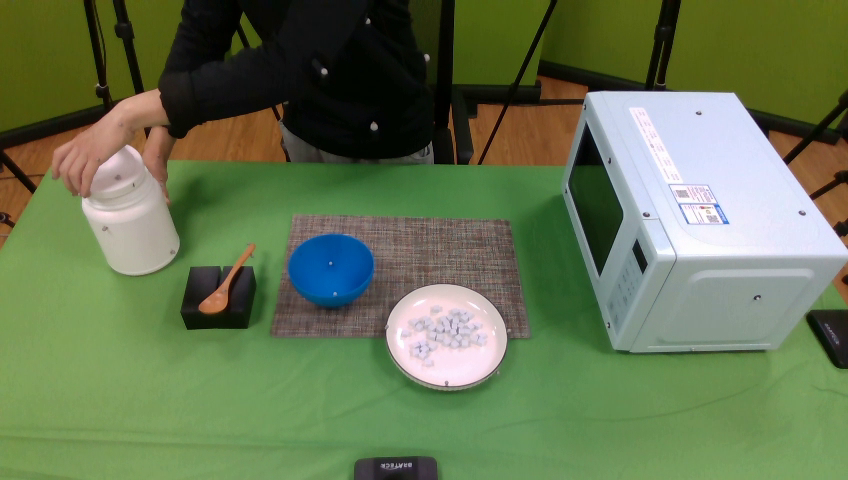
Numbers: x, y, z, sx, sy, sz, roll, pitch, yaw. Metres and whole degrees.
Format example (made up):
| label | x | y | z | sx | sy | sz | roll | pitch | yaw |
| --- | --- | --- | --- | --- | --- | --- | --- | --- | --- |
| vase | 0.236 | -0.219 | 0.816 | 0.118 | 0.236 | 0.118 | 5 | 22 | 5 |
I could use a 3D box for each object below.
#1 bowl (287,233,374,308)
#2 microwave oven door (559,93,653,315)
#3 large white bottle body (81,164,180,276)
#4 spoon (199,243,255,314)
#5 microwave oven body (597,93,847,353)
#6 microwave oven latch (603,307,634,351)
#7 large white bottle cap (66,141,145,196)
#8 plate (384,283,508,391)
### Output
| label | x | y | z | sx | sy | sz | roll | pitch | yaw |
| --- | --- | --- | --- | --- | --- | --- | --- | --- | --- |
| bowl | -0.164 | 0.068 | 1.078 | 0.151 | 0.077 | 0.150 | 2 | 46 | -2 |
| microwave oven door | 0.327 | -0.074 | 1.123 | 0.039 | 0.245 | 0.353 | -1 | 46 | -5 |
| large white bottle body | -0.524 | -0.041 | 1.085 | 0.131 | 0.185 | 0.130 | 2 | 45 | -2 |
| spoon | -0.333 | 0.063 | 1.051 | 0.041 | 0.022 | 0.193 | 6 | 40 | 9 |
| microwave oven body | 0.475 | -0.041 | 1.109 | 0.326 | 0.261 | 0.438 | -1 | 45 | -4 |
| microwave oven latch | 0.332 | 0.153 | 1.044 | 0.030 | 0.029 | 0.078 | 0 | 45 | -4 |
| large white bottle cap | -0.521 | -0.119 | 0.994 | 0.115 | 0.018 | 0.114 | 8 | 51 | -9 |
| plate | 0.036 | 0.166 | 1.029 | 0.209 | 0.038 | 0.208 | 2 | 49 | -2 |
